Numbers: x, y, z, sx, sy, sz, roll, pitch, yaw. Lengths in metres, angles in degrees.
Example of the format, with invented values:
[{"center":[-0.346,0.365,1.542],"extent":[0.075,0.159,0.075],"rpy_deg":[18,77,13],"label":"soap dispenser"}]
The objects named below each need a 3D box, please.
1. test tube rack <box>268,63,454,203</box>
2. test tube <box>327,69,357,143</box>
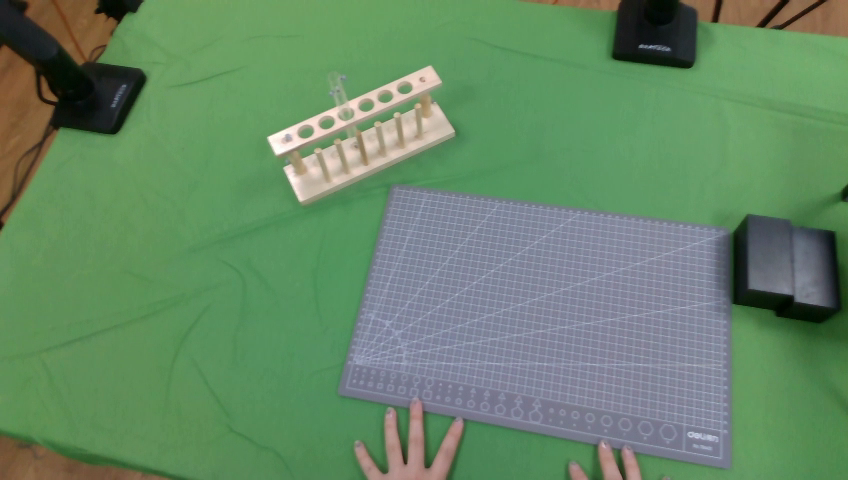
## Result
[{"center":[-0.081,-0.146,0.836],"extent":[0.242,0.086,0.066],"rpy_deg":[-26,65,-8],"label":"test tube rack"},{"center":[-0.104,-0.171,0.795],"extent":[0.017,0.151,0.017],"rpy_deg":[-1,68,4],"label":"test tube"}]
